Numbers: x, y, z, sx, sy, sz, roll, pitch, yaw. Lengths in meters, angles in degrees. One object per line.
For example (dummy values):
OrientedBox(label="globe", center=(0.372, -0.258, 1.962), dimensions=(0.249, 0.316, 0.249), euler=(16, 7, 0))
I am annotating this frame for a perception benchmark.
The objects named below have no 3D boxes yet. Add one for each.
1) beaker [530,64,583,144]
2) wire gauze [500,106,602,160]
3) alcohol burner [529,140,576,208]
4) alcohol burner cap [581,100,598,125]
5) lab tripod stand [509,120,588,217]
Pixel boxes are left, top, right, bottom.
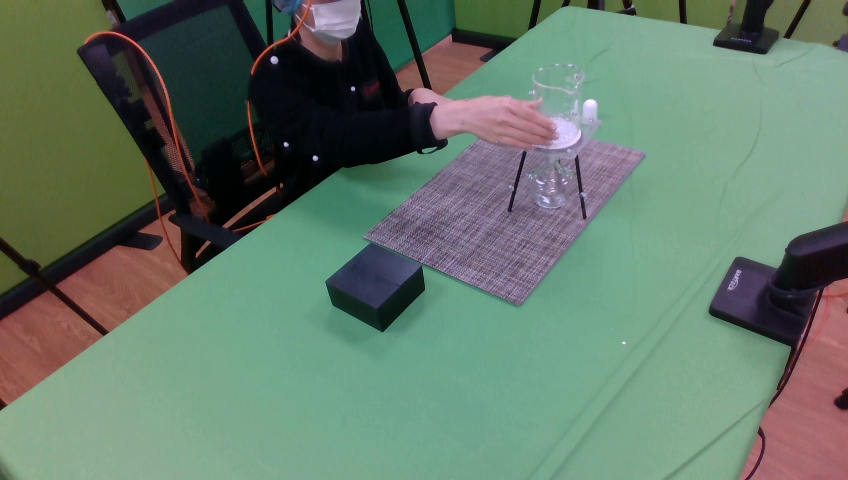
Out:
OrientedBox(label="beaker", center=(0.201, -0.201, 0.909), dimensions=(0.074, 0.101, 0.083), euler=(-19, 43, -10))
OrientedBox(label="wire gauze", center=(0.199, -0.166, 0.944), dimensions=(0.120, 0.011, 0.125), euler=(17, 50, 28))
OrientedBox(label="alcohol burner", center=(0.211, -0.112, 0.995), dimensions=(0.078, 0.119, 0.077), euler=(-6, 41, 6))
OrientedBox(label="alcohol burner cap", center=(0.331, -0.258, 1.210), dimensions=(0.034, 0.048, 0.033), euler=(-5, 41, 5))
OrientedBox(label="lab tripod stand", center=(0.207, -0.114, 0.983), dimensions=(0.148, 0.132, 0.147), euler=(-5, 42, 5))
